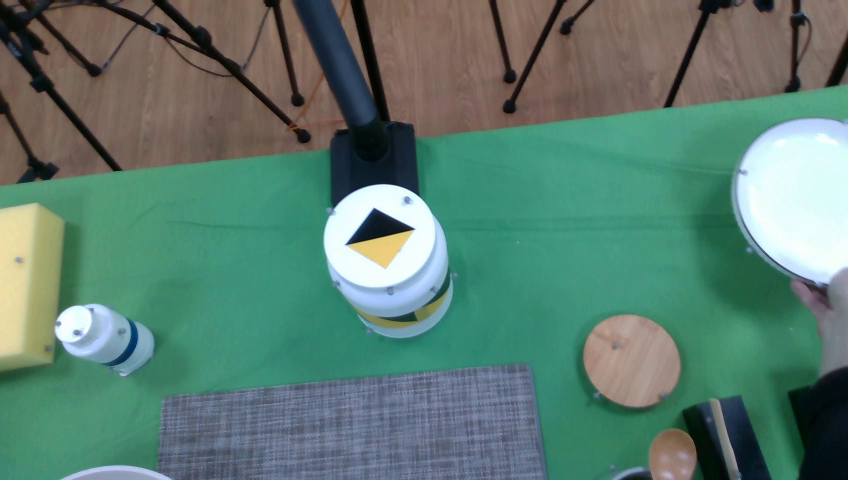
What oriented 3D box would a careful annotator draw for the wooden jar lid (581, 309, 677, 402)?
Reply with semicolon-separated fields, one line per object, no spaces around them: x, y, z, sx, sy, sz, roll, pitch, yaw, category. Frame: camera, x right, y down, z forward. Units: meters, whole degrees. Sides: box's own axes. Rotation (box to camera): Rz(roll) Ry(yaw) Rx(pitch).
0.239;0.135;0.710;0.108;0.021;0.107;-2;70;4;wooden jar lid

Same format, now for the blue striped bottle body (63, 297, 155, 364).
-0.380;0.107;0.724;0.063;0.122;0.062;-2;68;5;blue striped bottle body

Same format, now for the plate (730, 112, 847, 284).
0.457;-0.048;0.700;0.209;0.038;0.208;-1;73;2;plate

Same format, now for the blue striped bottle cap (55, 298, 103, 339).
-0.386;0.087;0.677;0.044;0.021;0.044;-2;71;5;blue striped bottle cap

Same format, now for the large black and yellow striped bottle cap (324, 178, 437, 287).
-0.044;-0.009;0.613;0.115;0.019;0.114;-2;70;5;large black and yellow striped bottle cap

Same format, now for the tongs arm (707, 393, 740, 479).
0.349;0.338;0.583;0.051;0.026;0.383;-11;79;2;tongs arm

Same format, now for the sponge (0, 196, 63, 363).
-0.553;0.053;0.792;0.118;0.061;0.205;-10;69;1;sponge

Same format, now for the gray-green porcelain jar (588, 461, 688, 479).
0.210;0.276;0.601;0.106;0.127;0.105;-2;69;5;gray-green porcelain jar

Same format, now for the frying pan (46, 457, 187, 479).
-0.355;0.469;0.582;0.306;0.103;0.484;10;60;10;frying pan

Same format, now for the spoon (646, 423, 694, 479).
0.209;0.259;0.532;0.041;0.022;0.193;10;74;7;spoon

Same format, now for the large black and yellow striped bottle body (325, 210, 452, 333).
-0.037;0.023;0.691;0.130;0.185;0.130;-2;68;5;large black and yellow striped bottle body
